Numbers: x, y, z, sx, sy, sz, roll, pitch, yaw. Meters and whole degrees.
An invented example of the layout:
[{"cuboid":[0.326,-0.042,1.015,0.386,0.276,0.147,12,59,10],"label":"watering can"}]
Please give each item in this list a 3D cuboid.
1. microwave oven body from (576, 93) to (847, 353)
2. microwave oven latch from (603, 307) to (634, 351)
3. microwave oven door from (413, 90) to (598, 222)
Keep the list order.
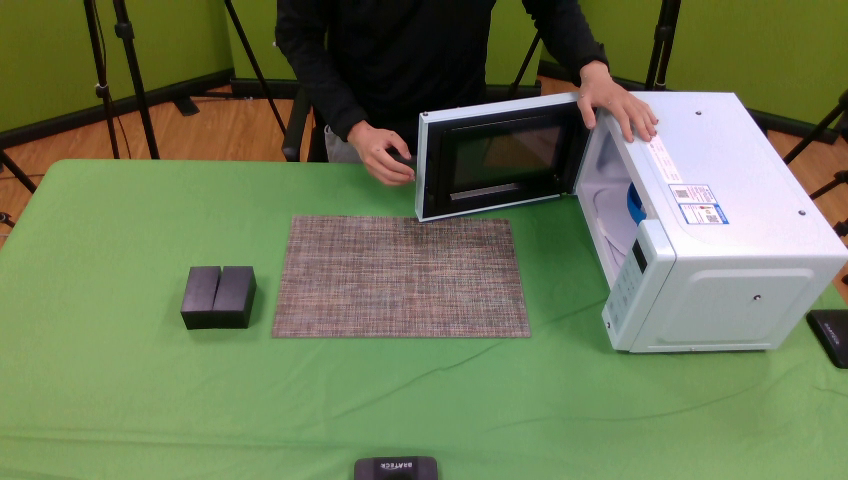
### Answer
[{"cuboid":[0.475,-0.041,1.109,0.326,0.261,0.438,-1,45,-4],"label":"microwave oven body"},{"cuboid":[0.332,0.153,1.043,0.030,0.029,0.078,0,45,-3],"label":"microwave oven latch"},{"cuboid":[0.156,-0.164,1.197,0.356,0.245,0.039,-11,48,-15],"label":"microwave oven door"}]
